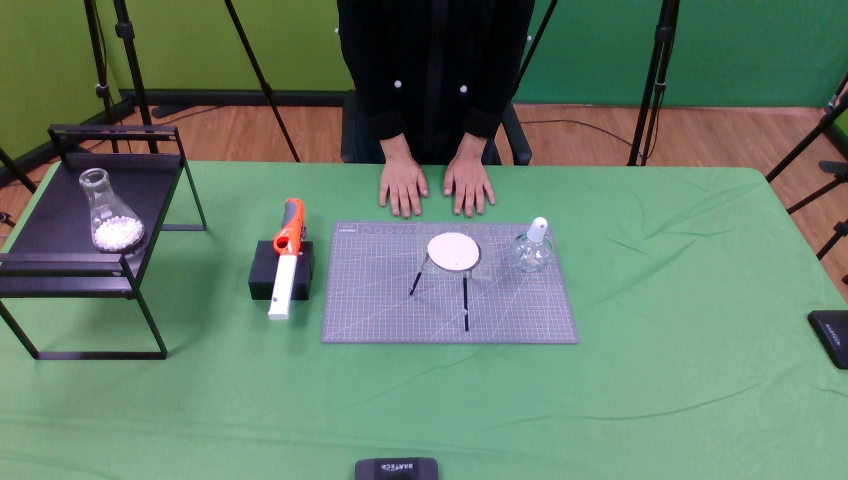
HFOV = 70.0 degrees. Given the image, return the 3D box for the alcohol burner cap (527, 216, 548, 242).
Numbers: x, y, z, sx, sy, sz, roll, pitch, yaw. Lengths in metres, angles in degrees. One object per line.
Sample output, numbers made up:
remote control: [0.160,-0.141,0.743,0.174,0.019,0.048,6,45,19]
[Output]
alcohol burner cap: [0.212,-0.023,1.119,0.034,0.048,0.033,8,46,-8]

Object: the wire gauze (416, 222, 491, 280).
wire gauze: [0.048,0.014,1.013,0.125,0.011,0.120,3,47,-3]

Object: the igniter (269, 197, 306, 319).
igniter: [-0.246,0.023,1.087,0.057,0.025,0.274,-1,49,-2]

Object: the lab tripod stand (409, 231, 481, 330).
lab tripod stand: [0.051,0.064,1.060,0.148,0.132,0.147,3,46,-3]

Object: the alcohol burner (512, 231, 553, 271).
alcohol burner: [0.208,0.003,1.145,0.078,0.119,0.077,3,44,-3]

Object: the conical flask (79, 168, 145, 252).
conical flask: [-0.463,-0.048,0.888,0.075,0.122,0.075,2,46,-2]
